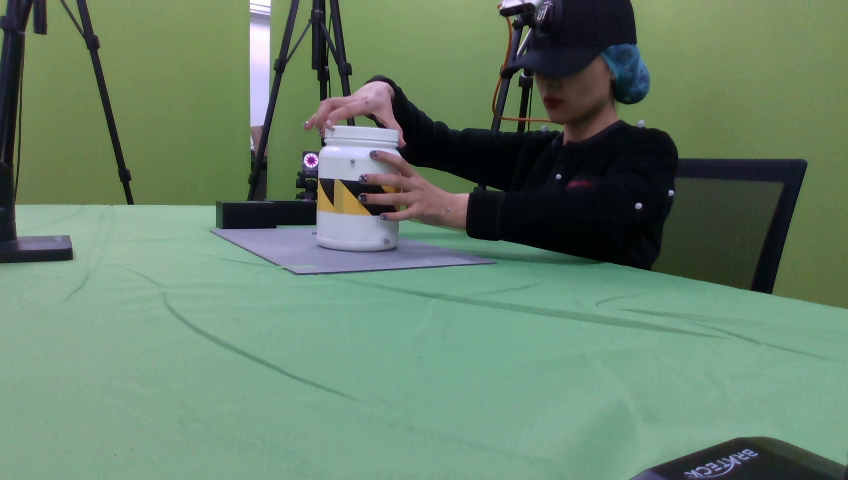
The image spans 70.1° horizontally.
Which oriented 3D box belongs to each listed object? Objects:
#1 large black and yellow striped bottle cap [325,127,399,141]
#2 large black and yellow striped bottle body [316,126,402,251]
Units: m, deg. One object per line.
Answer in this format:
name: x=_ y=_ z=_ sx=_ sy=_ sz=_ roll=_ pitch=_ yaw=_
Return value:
large black and yellow striped bottle cap: x=-0.096 y=-0.163 z=0.935 sx=0.115 sy=0.019 sz=0.115 roll=2 pitch=8 yaw=0
large black and yellow striped bottle body: x=-0.101 y=-0.081 z=0.947 sx=0.131 sy=0.184 sz=0.130 roll=3 pitch=8 yaw=0
